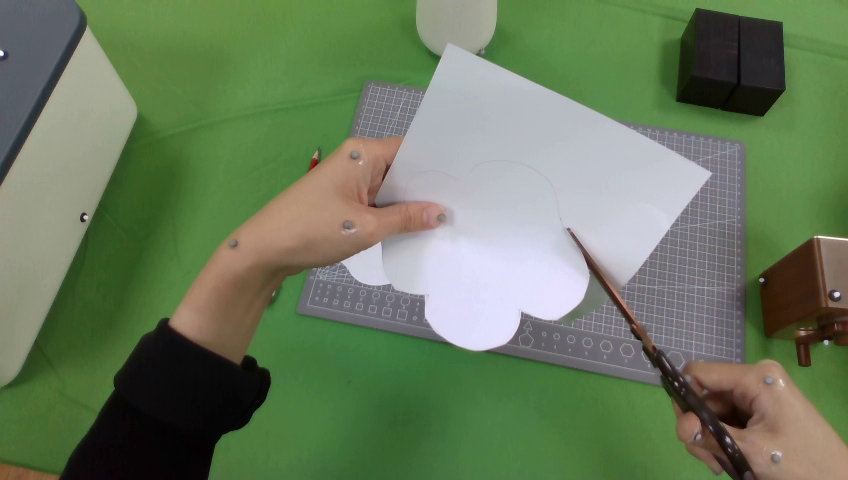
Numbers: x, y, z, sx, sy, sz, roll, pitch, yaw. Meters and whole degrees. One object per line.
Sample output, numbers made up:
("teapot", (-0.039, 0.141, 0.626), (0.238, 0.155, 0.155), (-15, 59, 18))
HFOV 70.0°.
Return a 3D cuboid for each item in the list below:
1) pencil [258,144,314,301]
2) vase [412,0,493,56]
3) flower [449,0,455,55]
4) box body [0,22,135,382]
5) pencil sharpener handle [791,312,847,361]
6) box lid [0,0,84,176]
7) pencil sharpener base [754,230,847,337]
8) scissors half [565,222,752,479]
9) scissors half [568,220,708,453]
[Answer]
("pencil", (-0.146, -0.025, 0.659), (0.012, 0.012, 0.193), (11, 66, 5))
("vase", (0.033, -0.300, 0.670), (0.098, 0.201, 0.097), (0, 66, 1))
("flower", (0.028, -0.346, 0.599), (0.044, 0.365, 0.038), (4, 49, 5))
("box body", (-0.481, -0.059, 0.588), (0.254, 0.161, 0.361), (10, 68, 4))
("pencil sharpener handle", (0.361, 0.089, 0.546), (0.036, 0.068, 0.030), (11, 67, -10))
("box lid", (-0.481, -0.091, 0.520), (0.263, 0.015, 0.369), (11, 67, 4))
("pencil sharpener base", (0.371, 0.047, 0.577), (0.061, 0.108, 0.076), (6, 68, 3))
("scissors half", (0.132, 0.061, 0.347), (0.013, 0.040, 0.174), (-34, 81, 1))
("scissors half", (0.133, 0.060, 0.368), (0.013, 0.040, 0.176), (-33, 104, 6))
